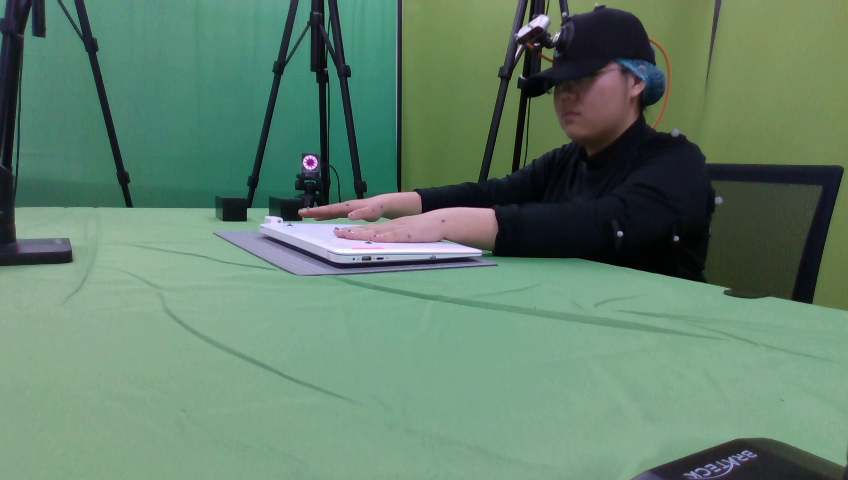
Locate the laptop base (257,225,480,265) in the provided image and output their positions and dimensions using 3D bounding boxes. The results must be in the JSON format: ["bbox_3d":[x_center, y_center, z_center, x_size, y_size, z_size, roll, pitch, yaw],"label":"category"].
[{"bbox_3d":[-0.102,0.007,0.962,0.237,0.023,0.352,2,6,-32],"label":"laptop base"}]

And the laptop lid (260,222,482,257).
[{"bbox_3d":[-0.099,-0.004,0.962,0.243,0.013,0.355,1,7,-30],"label":"laptop lid"}]

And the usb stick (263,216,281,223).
[{"bbox_3d":[-0.269,-0.028,1.081,0.021,0.027,0.059,-3,11,-30],"label":"usb stick"}]
